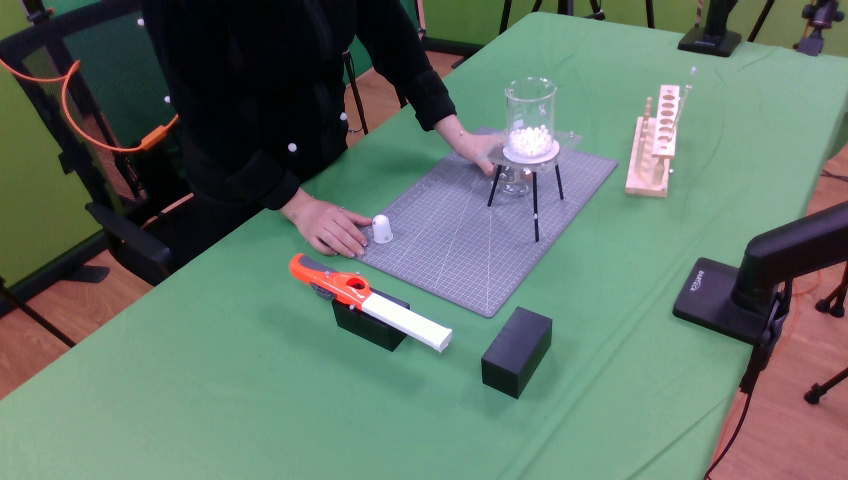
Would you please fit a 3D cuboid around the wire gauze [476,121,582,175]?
[{"bbox_3d":[0.162,-0.141,0.929,0.120,0.011,0.125,19,49,32],"label":"wire gauze"}]

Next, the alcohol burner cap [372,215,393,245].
[{"bbox_3d":[-0.070,-0.019,0.990,0.034,0.048,0.033,-4,41,4],"label":"alcohol burner cap"}]

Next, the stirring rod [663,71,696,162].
[{"bbox_3d":[0.410,-0.196,0.981,0.014,0.177,0.006,11,50,13],"label":"stirring rod"}]

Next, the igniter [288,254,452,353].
[{"bbox_3d":[-0.083,0.080,0.818,0.274,0.025,0.057,23,46,27],"label":"igniter"}]

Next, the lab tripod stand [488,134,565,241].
[{"bbox_3d":[0.168,-0.092,0.972,0.148,0.132,0.147,-5,41,5],"label":"lab tripod stand"}]

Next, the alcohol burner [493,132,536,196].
[{"bbox_3d":[0.156,-0.135,1.040,0.078,0.119,0.077,-4,42,5],"label":"alcohol burner"}]

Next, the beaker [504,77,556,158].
[{"bbox_3d":[0.160,-0.181,0.900,0.084,0.101,0.073,-32,46,-27],"label":"beaker"}]

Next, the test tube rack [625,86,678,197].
[{"bbox_3d":[0.412,-0.184,1.088,0.066,0.085,0.242,9,43,18],"label":"test tube rack"}]
